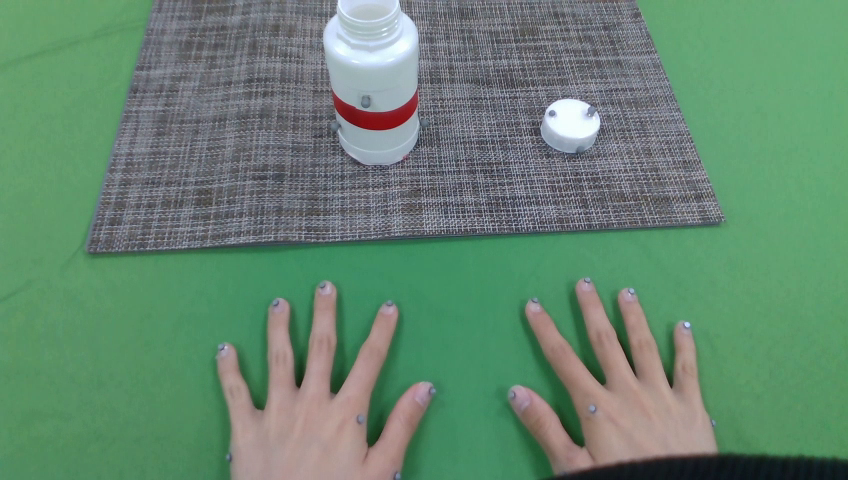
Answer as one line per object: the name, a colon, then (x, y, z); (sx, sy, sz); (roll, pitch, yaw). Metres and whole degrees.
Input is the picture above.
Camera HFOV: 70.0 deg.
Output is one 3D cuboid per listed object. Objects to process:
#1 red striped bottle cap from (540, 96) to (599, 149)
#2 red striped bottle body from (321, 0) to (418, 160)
red striped bottle cap: (0.114, -0.093, 0.476); (0.044, 0.018, 0.044); (1, 55, -1)
red striped bottle body: (-0.036, -0.116, 0.424); (0.063, 0.120, 0.062); (0, 58, 0)
